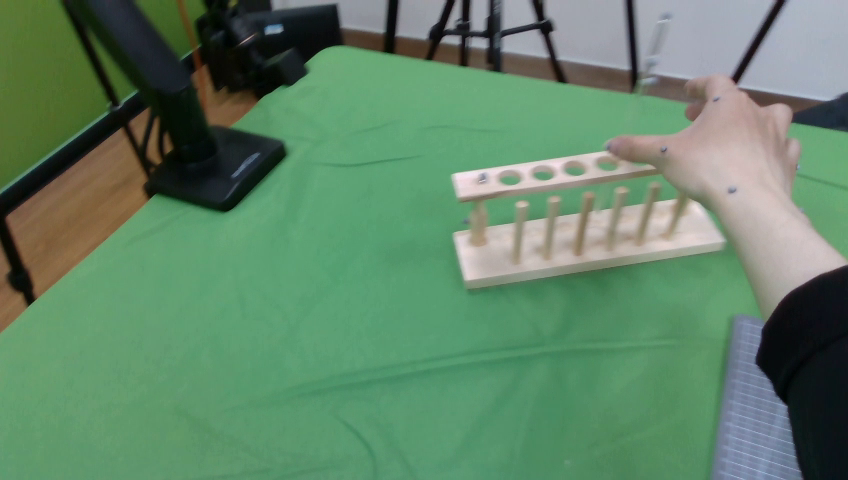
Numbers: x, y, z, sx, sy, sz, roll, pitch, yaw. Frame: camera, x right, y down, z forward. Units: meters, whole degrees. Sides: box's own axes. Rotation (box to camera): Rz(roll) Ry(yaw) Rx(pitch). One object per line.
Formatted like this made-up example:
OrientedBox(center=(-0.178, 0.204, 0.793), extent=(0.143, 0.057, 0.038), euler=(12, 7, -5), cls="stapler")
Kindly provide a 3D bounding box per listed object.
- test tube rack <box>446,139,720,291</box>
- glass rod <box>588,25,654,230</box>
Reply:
OrientedBox(center=(0.146, -0.023, 0.557), extent=(0.242, 0.086, 0.066), euler=(-9, 45, -4), cls="test tube rack")
OrientedBox(center=(0.167, -0.086, 0.525), extent=(0.008, 0.201, 0.008), euler=(3, 40, -2), cls="glass rod")
